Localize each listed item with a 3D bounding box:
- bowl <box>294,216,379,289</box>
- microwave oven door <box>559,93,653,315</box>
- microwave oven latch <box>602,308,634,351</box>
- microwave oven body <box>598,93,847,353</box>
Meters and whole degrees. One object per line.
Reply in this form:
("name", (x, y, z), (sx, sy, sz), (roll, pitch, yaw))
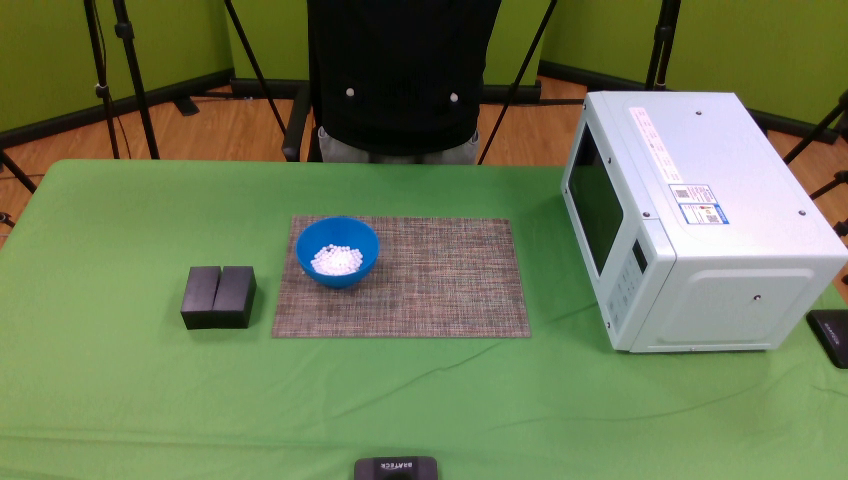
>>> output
("bowl", (-0.158, 0.036, 1.110), (0.151, 0.077, 0.150), (3, 45, -2))
("microwave oven door", (0.327, -0.074, 1.123), (0.039, 0.245, 0.353), (-1, 46, -5))
("microwave oven latch", (0.332, 0.153, 1.044), (0.030, 0.029, 0.078), (0, 45, -4))
("microwave oven body", (0.475, -0.041, 1.109), (0.326, 0.261, 0.438), (-1, 45, -4))
